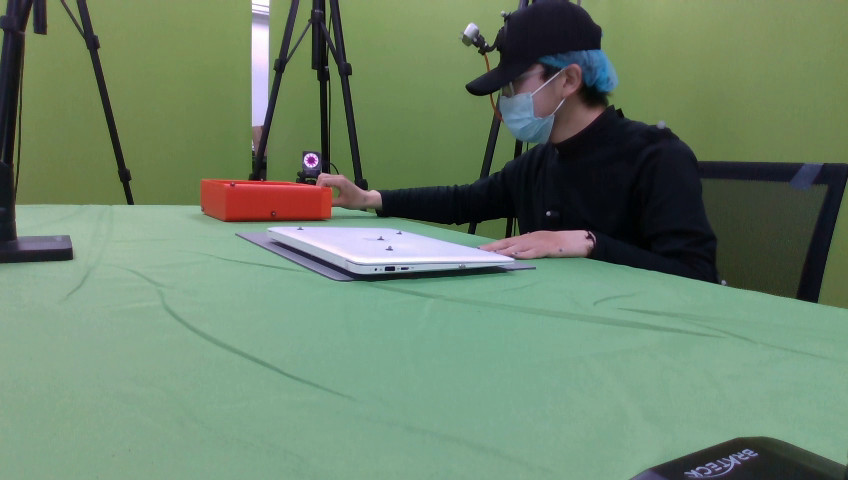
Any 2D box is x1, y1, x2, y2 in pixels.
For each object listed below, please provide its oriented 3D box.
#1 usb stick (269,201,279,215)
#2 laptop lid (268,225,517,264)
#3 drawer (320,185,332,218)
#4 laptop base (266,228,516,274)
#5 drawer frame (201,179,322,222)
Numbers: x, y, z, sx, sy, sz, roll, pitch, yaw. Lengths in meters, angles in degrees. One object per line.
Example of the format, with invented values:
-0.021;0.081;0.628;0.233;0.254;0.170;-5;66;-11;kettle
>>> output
-0.342;-0.074;1.375;0.021;0.027;0.059;1;8;-16;usb stick
-0.063;0.002;0.877;0.243;0.013;0.355;1;7;-30;laptop lid
-0.343;-0.092;1.374;0.213;0.073;0.193;-3;10;-33;drawer
-0.066;0.014;0.877;0.237;0.023;0.352;2;6;-32;laptop base
-0.365;-0.093;1.359;0.215;0.082;0.200;-4;10;-34;drawer frame
